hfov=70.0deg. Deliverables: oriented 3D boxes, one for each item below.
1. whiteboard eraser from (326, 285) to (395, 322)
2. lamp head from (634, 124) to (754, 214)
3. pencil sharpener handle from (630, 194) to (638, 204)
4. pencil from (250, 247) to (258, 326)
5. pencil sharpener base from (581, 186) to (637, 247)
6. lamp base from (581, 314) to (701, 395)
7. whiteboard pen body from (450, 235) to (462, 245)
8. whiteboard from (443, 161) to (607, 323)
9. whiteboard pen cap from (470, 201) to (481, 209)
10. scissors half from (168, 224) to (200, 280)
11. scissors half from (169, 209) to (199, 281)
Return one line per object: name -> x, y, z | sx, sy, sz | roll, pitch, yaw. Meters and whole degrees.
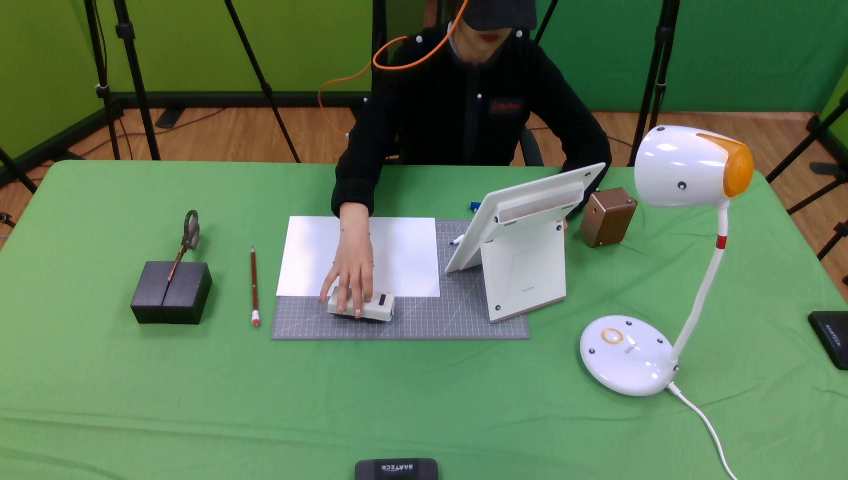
whiteboard eraser -> -0.111, 0.114, 1.059 | 0.112, 0.042, 0.055 | 7, 32, 4
lamp head -> 0.351, -0.089, 0.776 | 0.112, 0.113, 0.122 | -30, 30, -28
pencil sharpener handle -> 0.417, -0.068, 1.215 | 0.031, 0.068, 0.036 | -11, 60, -14
pencil -> -0.312, 0.079, 1.107 | 0.012, 0.012, 0.192 | -7, 46, -11
pencil sharpener base -> 0.369, -0.047, 1.209 | 0.077, 0.107, 0.061 | -11, 47, -15
lamp base -> 0.361, 0.144, 0.973 | 0.178, 0.181, 0.160 | 34, 53, 23
whiteboard pen body -> 0.110, -0.017, 1.222 | 0.141, 0.017, 0.017 | -24, 52, -24
whiteboard -> 0.185, 0.025, 1.029 | 0.217, 0.306, 0.143 | -15, 68, -18
whiteboard pen cap -> 0.113, -0.073, 1.279 | 0.033, 0.018, 0.018 | 4, 46, 6
scissors half -> -0.440, 0.023, 1.111 | 0.013, 0.040, 0.174 | 7, 29, -6
scissors half -> -0.438, 0.007, 1.098 | 0.013, 0.040, 0.174 | 3, 48, -3
